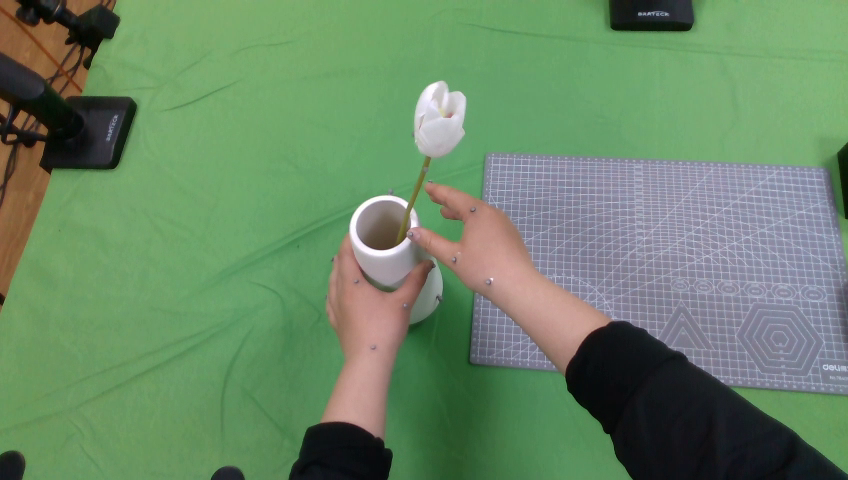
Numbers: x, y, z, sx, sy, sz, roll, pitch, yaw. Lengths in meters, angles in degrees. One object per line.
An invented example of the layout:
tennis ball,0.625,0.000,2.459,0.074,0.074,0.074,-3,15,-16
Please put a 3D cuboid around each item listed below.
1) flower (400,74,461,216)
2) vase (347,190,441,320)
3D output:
flower,-0.022,-0.020,0.610,0.038,0.364,0.043,-24,66,-25
vase,-0.032,0.021,0.682,0.098,0.201,0.097,-1,66,3
